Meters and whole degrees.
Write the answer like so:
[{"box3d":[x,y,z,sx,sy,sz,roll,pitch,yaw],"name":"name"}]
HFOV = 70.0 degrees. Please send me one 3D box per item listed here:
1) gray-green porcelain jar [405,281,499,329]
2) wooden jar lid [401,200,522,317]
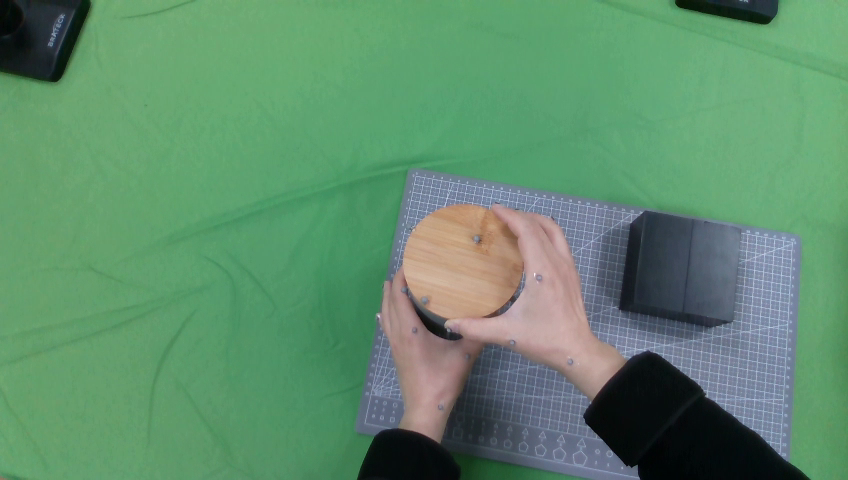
[{"box3d":[0.033,0.034,0.609,0.106,0.127,0.105,0,76,0],"name":"gray-green porcelain jar"},{"box3d":[0.034,0.018,0.545,0.108,0.021,0.108,-1,74,4],"name":"wooden jar lid"}]
